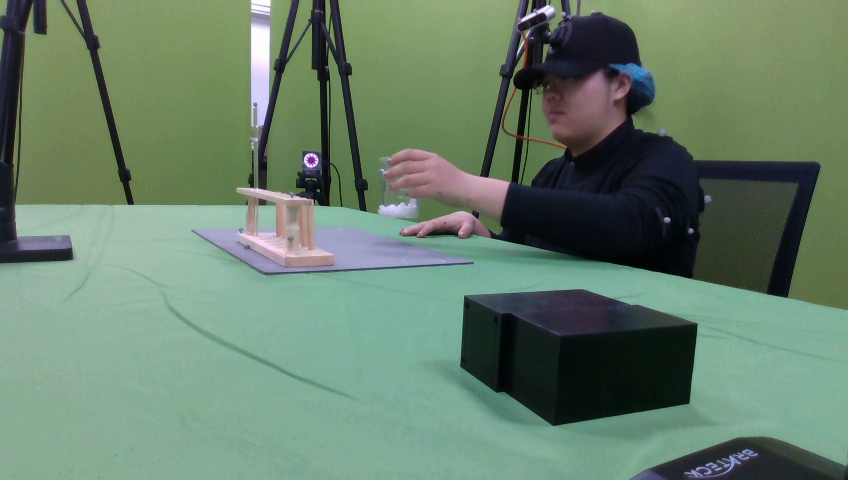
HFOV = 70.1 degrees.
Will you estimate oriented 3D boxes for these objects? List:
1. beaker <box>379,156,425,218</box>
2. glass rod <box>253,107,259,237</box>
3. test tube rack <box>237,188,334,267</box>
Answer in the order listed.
[{"bbox_3d":[-0.037,-0.088,1.023,0.083,0.100,0.074,7,6,37],"label":"beaker"},{"bbox_3d":[-0.253,-0.101,0.912,0.008,0.199,0.008,1,4,0],"label":"glass rod"},{"bbox_3d":[-0.202,-0.024,0.855,0.067,0.085,0.241,-2,8,-30],"label":"test tube rack"}]
